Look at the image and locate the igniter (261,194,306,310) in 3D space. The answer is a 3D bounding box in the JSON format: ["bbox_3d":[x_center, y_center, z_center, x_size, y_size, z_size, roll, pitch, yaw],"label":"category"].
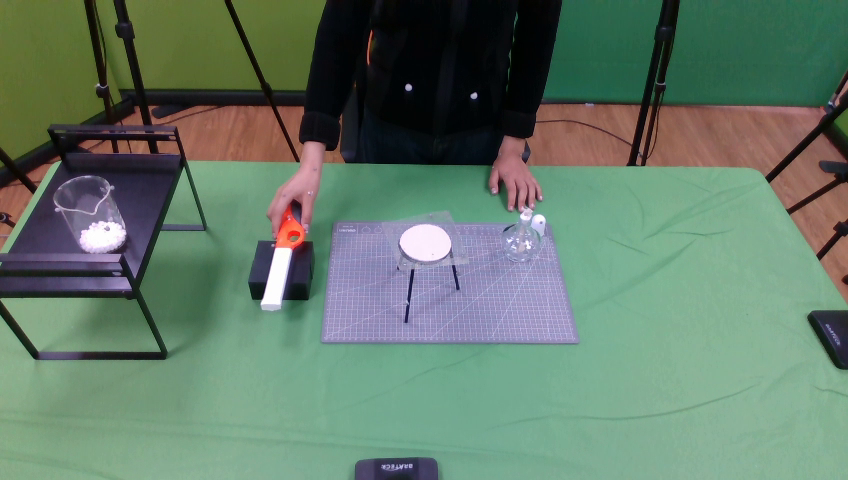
[{"bbox_3d":[-0.252,0.011,1.096,0.057,0.025,0.275,2,46,-1],"label":"igniter"}]

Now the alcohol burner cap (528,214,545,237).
[{"bbox_3d":[0.231,-0.032,1.230,0.034,0.048,0.033,2,46,-1],"label":"alcohol burner cap"}]

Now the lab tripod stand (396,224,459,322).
[{"bbox_3d":[-0.003,0.052,1.067,0.148,0.132,0.147,3,48,-3],"label":"lab tripod stand"}]

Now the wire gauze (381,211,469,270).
[{"bbox_3d":[0.000,0.001,1.023,0.125,0.011,0.120,-9,48,-13],"label":"wire gauze"}]

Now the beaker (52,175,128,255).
[{"bbox_3d":[-0.482,-0.032,0.888,0.074,0.101,0.083,-28,55,-27],"label":"beaker"}]

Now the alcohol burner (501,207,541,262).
[{"bbox_3d":[0.188,-0.015,1.160,0.078,0.120,0.077,1,44,-1],"label":"alcohol burner"}]
